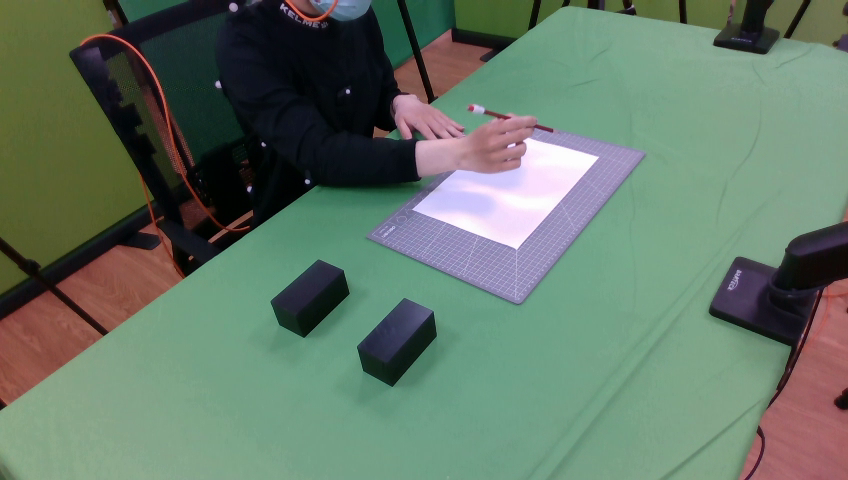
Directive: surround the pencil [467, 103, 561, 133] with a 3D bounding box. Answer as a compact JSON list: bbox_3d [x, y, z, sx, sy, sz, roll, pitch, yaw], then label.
[{"bbox_3d":[0.151,-0.197,0.988,0.196,0.012,0.012,8,32,-31],"label":"pencil"}]
